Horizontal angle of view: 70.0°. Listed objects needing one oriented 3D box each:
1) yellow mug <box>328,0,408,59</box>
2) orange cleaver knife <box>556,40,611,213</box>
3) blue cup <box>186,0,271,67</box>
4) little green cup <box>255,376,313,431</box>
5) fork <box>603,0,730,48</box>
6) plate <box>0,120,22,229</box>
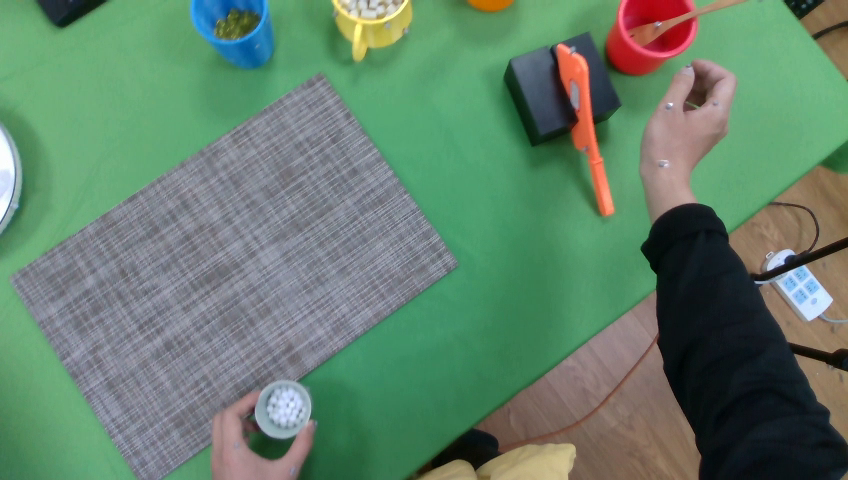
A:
[{"bbox_3d":[-0.073,-0.288,0.749,0.100,0.064,0.130,13,84,0],"label":"yellow mug"},{"bbox_3d":[0.191,-0.135,0.733,0.012,0.076,0.213,-20,114,-1],"label":"orange cleaver knife"},{"bbox_3d":[-0.223,-0.254,0.722,0.093,0.100,0.092,0,84,-3],"label":"blue cup"},{"bbox_3d":[-0.155,0.182,0.686,0.061,0.039,0.061,0,86,2],"label":"little green cup"},{"bbox_3d":[0.315,-0.272,0.721,0.206,0.019,0.028,-12,79,39],"label":"fork"},{"bbox_3d":[-0.580,-0.072,0.719,0.208,0.039,0.207,0,83,-2],"label":"plate"}]
